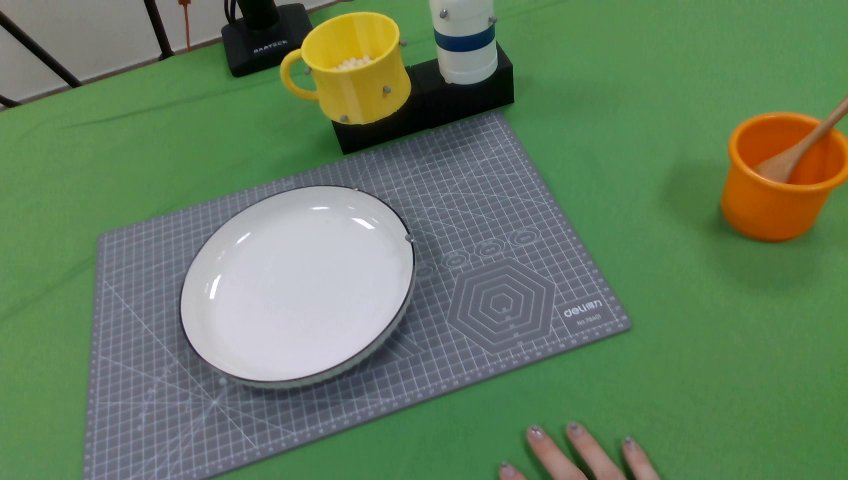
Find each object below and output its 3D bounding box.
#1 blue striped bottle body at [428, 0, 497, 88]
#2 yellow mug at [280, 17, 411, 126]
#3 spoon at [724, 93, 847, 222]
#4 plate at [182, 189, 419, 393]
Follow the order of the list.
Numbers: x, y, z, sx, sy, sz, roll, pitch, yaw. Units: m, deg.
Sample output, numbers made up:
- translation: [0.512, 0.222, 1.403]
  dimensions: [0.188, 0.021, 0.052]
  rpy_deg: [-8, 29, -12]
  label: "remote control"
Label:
- translation: [0.038, -0.218, 0.601]
  dimensions: [0.063, 0.122, 0.062]
  rpy_deg: [-5, 51, 7]
  label: "blue striped bottle body"
- translation: [-0.084, -0.171, 0.622]
  dimensions: [0.131, 0.064, 0.099]
  rpy_deg: [-8, 50, 6]
  label: "yellow mug"
- translation: [0.318, -0.091, 0.486]
  dimensions: [0.194, 0.022, 0.041]
  rpy_deg: [-51, 45, 22]
  label: "spoon"
- translation: [-0.105, 0.042, 0.535]
  dimensions: [0.207, 0.039, 0.205]
  rpy_deg: [-5, 51, 7]
  label: "plate"
